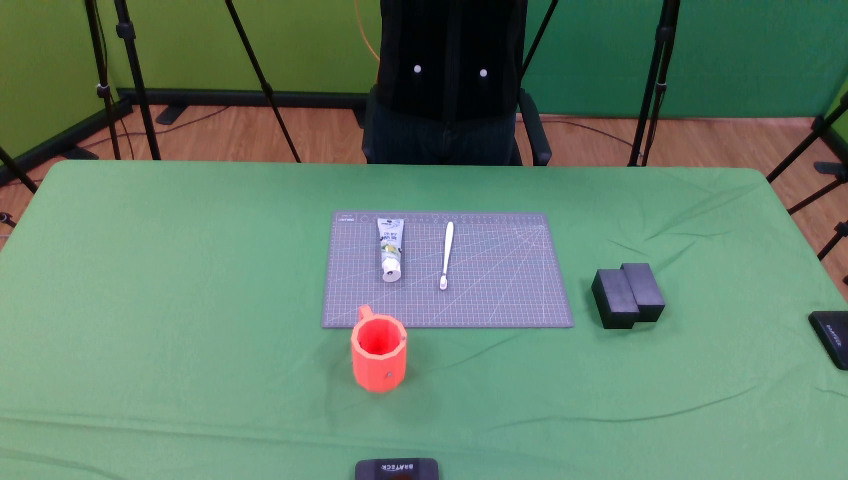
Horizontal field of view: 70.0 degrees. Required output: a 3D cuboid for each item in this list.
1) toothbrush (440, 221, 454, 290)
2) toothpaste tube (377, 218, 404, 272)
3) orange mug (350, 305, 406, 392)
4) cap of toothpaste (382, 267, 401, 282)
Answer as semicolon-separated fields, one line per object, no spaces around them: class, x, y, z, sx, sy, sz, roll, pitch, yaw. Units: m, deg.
toothbrush;0.045;0.024;1.177;0.014;0.017;0.181;-4;43;13
toothpaste tube;-0.063;0.008;1.179;0.055;0.034;0.164;5;41;-9
orange mug;-0.080;0.168;0.978;0.083;0.101;0.125;-16;54;-18
cap of toothpaste;-0.060;0.063;1.118;0.037;0.037;0.011;-9;50;-12
